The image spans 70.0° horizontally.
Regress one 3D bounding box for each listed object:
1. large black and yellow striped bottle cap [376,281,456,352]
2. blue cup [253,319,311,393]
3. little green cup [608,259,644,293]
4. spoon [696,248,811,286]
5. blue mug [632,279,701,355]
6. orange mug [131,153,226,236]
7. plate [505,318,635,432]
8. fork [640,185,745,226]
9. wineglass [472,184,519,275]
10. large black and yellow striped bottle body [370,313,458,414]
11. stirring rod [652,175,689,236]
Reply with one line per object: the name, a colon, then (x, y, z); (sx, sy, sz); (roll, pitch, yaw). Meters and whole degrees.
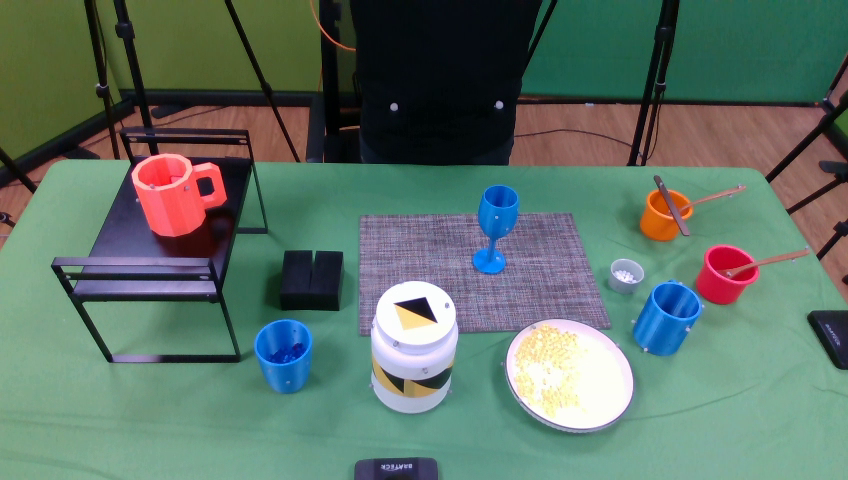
large black and yellow striped bottle cap: (-0.011, 0.107, 0.863); (0.115, 0.019, 0.114); (2, 47, -2)
blue cup: (-0.217, 0.187, 0.943); (0.093, 0.101, 0.092); (4, 45, -3)
little green cup: (0.379, 0.070, 1.147); (0.061, 0.039, 0.061); (3, 45, -3)
spoon: (0.601, 0.048, 1.112); (0.193, 0.022, 0.041); (-25, 31, 35)
blue mug: (0.419, 0.124, 1.052); (0.082, 0.106, 0.116); (14, 46, 9)
orange mug: (-0.375, -0.075, 0.937); (0.126, 0.101, 0.083); (-20, 50, -17)
plate: (0.235, 0.221, 0.991); (0.209, 0.038, 0.208); (2, 45, -2)
fork: (0.534, -0.068, 1.215); (0.207, 0.019, 0.028); (-26, 26, 33)
wineglass: (0.129, -0.018, 1.113); (0.074, 0.173, 0.073); (2, 46, -2)
large black and yellow striped bottle body: (-0.017, 0.165, 0.924); (0.131, 0.185, 0.130); (2, 46, -2)
stirring rod: (0.491, -0.072, 1.211); (0.014, 0.006, 0.175); (-1, 46, -5)
